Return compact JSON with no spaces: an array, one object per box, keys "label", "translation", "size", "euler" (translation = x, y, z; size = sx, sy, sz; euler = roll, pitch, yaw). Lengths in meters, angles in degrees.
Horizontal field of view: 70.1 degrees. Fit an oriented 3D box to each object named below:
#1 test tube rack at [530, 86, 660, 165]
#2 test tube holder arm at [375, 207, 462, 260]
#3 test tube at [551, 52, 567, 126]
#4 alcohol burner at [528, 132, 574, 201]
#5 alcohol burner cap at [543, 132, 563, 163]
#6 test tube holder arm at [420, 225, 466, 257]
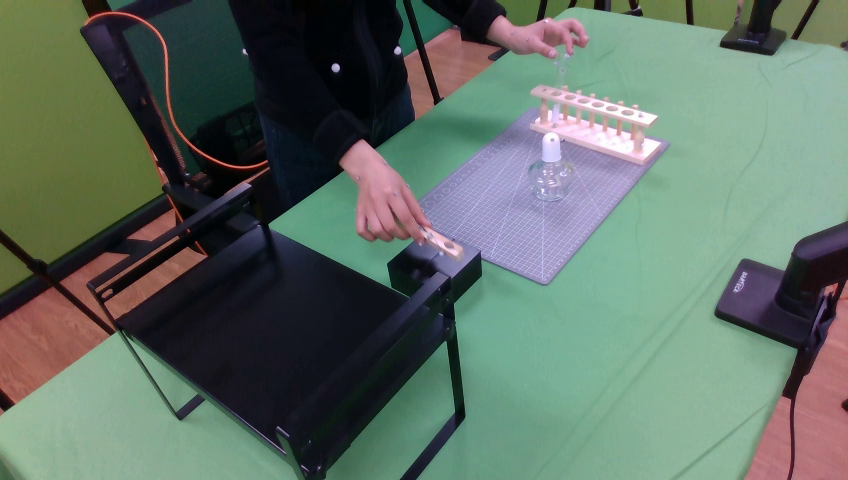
[{"label":"test tube rack","translation":[0.320,-0.226,1.140],"size":[0.240,0.085,0.067],"euler":[27,51,34]},{"label":"test tube holder arm","translation":[-0.012,-0.012,0.876],"size":[0.177,0.015,0.013],"euler":[27,55,37]},{"label":"test tube","translation":[0.253,-0.281,1.139],"size":[0.017,0.151,0.017],"euler":[-2,43,2]},{"label":"alcohol burner","translation":[0.214,-0.126,1.016],"size":[0.078,0.119,0.077],"euler":[-5,38,5]},{"label":"alcohol burner cap","translation":[0.211,-0.154,0.994],"size":[0.034,0.048,0.033],"euler":[-7,35,6]},{"label":"test tube holder arm","translation":[0.023,0.001,0.851],"size":[0.087,0.015,0.010],"euler":[28,56,38]}]
